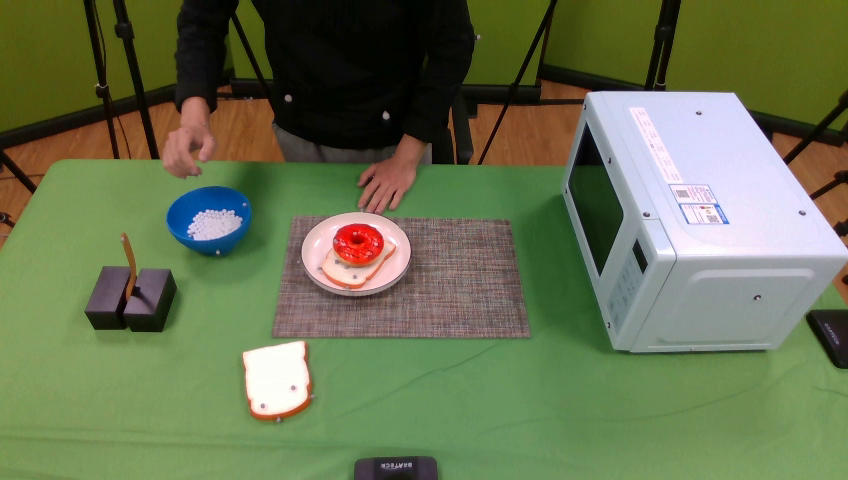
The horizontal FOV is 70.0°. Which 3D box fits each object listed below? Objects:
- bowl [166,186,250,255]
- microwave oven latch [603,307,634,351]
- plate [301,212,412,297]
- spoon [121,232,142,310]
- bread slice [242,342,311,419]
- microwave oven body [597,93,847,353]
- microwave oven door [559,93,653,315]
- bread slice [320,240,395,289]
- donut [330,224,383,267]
[{"bbox_3d":[-0.403,-0.024,1.154,0.151,0.077,0.150,2,46,-2],"label":"bowl"},{"bbox_3d":[0.332,0.153,1.044,0.030,0.029,0.078,0,45,-4],"label":"microwave oven latch"},{"bbox_3d":[-0.126,0.031,1.145,0.208,0.039,0.206,2,46,-2],"label":"plate"},{"bbox_3d":[-0.479,0.051,0.993,0.022,0.194,0.041,13,46,-11],"label":"spoon"},{"bbox_3d":[-0.234,0.223,0.970,0.105,0.019,0.130,-10,46,-13],"label":"bread slice"},{"bbox_3d":[0.475,-0.041,1.109,0.326,0.261,0.438,-1,45,-4],"label":"microwave oven body"},{"bbox_3d":[0.327,-0.074,1.123,0.039,0.245,0.353,-1,46,-5],"label":"microwave oven door"},{"bbox_3d":[-0.129,0.037,1.140,0.107,0.018,0.134,19,47,14],"label":"bread slice"},{"bbox_3d":[-0.125,0.010,1.127,0.099,0.048,0.098,3,45,-3],"label":"donut"}]
